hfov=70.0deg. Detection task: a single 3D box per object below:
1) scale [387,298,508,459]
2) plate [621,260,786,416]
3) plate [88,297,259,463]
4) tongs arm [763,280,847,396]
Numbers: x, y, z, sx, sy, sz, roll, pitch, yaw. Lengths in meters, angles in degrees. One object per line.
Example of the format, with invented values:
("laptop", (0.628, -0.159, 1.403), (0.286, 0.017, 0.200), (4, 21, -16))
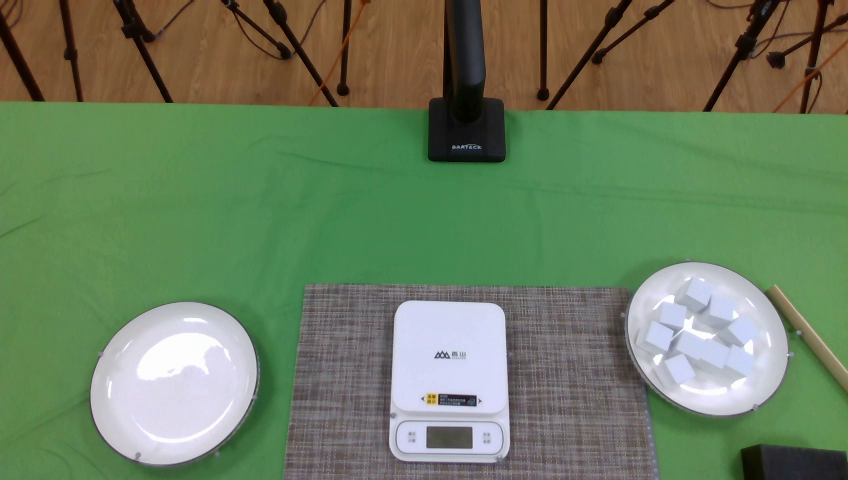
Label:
("scale", (0.031, 0.172, 0.773), (0.149, 0.032, 0.199), (1, 66, 1))
("plate", (0.360, 0.128, 0.797), (0.208, 0.039, 0.206), (0, 65, 0))
("plate", (-0.313, 0.176, 0.771), (0.209, 0.038, 0.207), (0, 66, 0))
("tongs arm", (0.568, 0.209, 0.766), (0.028, 0.028, 0.384), (-27, 68, -14))
